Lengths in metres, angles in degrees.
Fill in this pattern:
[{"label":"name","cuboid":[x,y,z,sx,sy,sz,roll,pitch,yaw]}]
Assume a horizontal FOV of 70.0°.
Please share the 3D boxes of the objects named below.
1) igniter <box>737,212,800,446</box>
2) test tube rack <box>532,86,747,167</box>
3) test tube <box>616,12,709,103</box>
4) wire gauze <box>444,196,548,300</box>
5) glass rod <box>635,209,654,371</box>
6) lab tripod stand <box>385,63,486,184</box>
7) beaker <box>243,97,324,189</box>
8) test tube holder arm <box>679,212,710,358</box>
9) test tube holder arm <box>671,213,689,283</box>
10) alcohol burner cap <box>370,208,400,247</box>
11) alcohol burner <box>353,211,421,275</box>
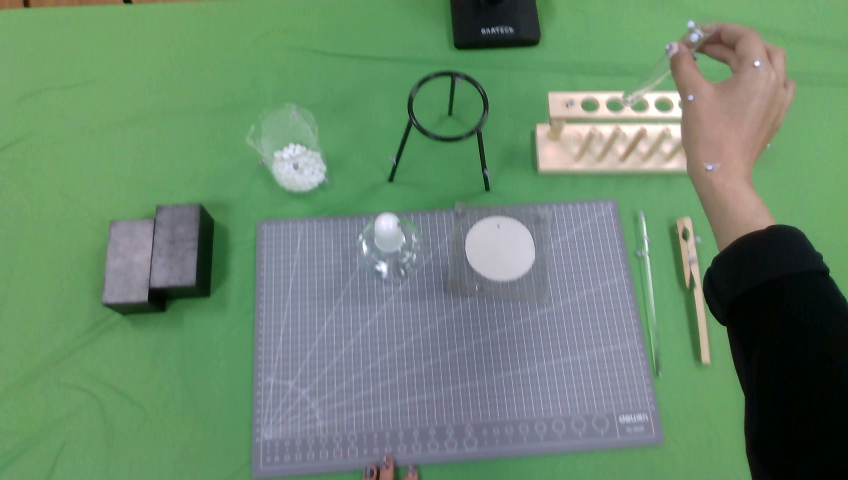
[{"label":"igniter","cuboid":[0.401,0.097,0.708,0.057,0.025,0.274,7,70,-11]},{"label":"test tube rack","cuboid":[0.264,-0.140,0.757,0.242,0.085,0.066,0,70,-2]},{"label":"test tube","cuboid":[0.209,-0.158,0.544,0.017,0.150,0.017,1,80,-6]},{"label":"wire gauze","cuboid":[0.090,0.006,0.739,0.125,0.011,0.121,7,72,0]},{"label":"glass rod","cuboid":[0.265,0.057,0.728,0.008,0.008,0.198,2,73,-1]},{"label":"lab tripod stand","cuboid":[0.019,-0.132,0.721,0.148,0.132,0.147,0,72,-1]},{"label":"beaker","cuboid":[-0.164,-0.111,0.727,0.084,0.101,0.073,-11,70,-5]},{"label":"test tube holder arm","cuboid":[0.322,0.051,0.725,0.013,0.015,0.177,-14,67,30]},{"label":"test tube holder arm","cuboid":[0.316,0.010,0.743,0.010,0.015,0.087,-14,68,31]},{"label":"alcohol burner cap","cuboid":[-0.042,-0.017,0.648,0.034,0.048,0.033,1,64,-2]},{"label":"alcohol burner","cuboid":[-0.042,-0.003,0.682,0.078,0.120,0.077,0,71,1]}]
